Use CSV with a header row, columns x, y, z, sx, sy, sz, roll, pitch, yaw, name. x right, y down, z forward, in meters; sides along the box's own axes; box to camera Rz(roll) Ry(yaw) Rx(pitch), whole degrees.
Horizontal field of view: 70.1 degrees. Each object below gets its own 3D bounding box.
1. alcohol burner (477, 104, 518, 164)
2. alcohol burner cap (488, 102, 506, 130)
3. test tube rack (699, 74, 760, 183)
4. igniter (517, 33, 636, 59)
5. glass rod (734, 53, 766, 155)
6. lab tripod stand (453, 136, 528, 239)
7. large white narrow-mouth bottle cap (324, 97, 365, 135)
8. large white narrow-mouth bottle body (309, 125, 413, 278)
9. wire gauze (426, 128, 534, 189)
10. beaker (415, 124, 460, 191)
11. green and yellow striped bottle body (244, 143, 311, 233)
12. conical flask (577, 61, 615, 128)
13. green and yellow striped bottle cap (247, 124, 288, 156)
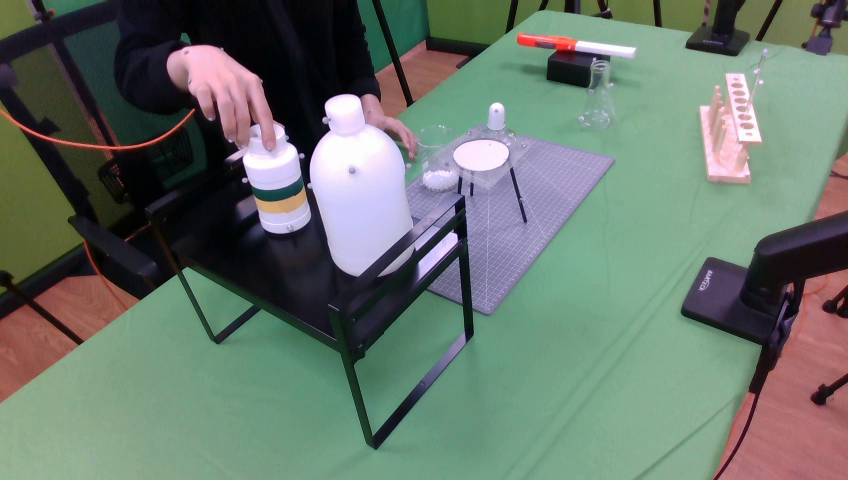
x,y,z,sx,sy,sz,roll,pitch,yaw,name
0.135,-0.200,1.117,0.078,0.119,0.077,-4,43,4,alcohol burner
0.133,-0.227,1.092,0.034,0.048,0.033,-1,47,2,alcohol burner cap
0.547,-0.208,1.094,0.066,0.085,0.242,6,42,15,test tube rack
0.336,-0.441,1.369,0.275,0.025,0.057,16,41,23,igniter
0.540,-0.220,1.007,0.008,0.201,0.008,-5,45,6,glass rod
0.094,-0.086,0.974,0.148,0.132,0.147,-4,43,4,lab tripod stand
-0.076,-0.120,0.585,0.038,0.024,0.037,-3,42,3,large white narrow-mouth bottle cap
-0.068,-0.057,0.644,0.102,0.195,0.101,-3,42,4,large white narrow-mouth bottle body
0.086,-0.131,0.924,0.124,0.011,0.122,26,52,33,wire gauze
0.027,-0.147,1.081,0.073,0.100,0.084,12,43,21,beaker
-0.179,-0.073,0.732,0.063,0.120,0.063,-2,38,2,green and yellow striped bottle body
0.343,-0.288,1.188,0.075,0.122,0.075,-4,41,4,conical flask
-0.181,-0.116,0.698,0.045,0.020,0.045,1,38,0,green and yellow striped bottle cap
